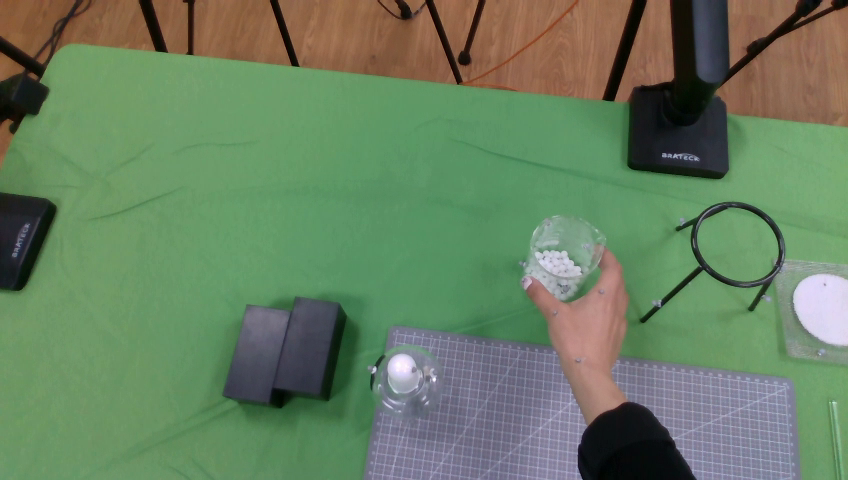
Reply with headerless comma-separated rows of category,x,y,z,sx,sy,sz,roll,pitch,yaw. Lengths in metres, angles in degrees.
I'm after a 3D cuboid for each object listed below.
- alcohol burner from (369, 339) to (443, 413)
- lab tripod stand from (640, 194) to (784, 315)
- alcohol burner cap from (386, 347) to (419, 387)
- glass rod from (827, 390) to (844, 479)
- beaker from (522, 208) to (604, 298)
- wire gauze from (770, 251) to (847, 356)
alcohol burner,-0.021,0.136,0.623,0.078,0.120,0.077,-1,68,4
lab tripod stand,0.306,0.022,0.649,0.148,0.132,0.147,-1,70,2
alcohol burner cap,-0.022,0.121,0.590,0.034,0.048,0.033,0,62,0
glass rod,0.428,0.254,0.621,0.008,0.008,0.198,6,69,4
beaker,0.150,0.017,0.674,0.084,0.101,0.073,-17,69,-5
wire gauze,0.465,0.073,0.691,0.125,0.011,0.120,6,69,2
